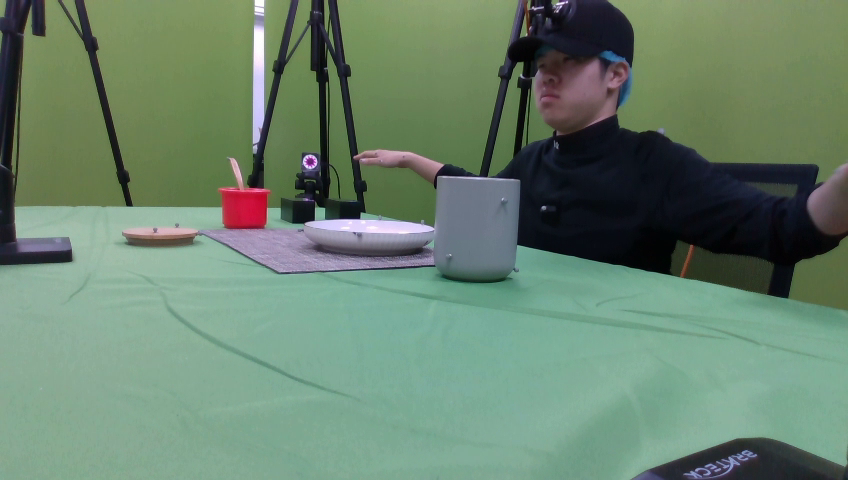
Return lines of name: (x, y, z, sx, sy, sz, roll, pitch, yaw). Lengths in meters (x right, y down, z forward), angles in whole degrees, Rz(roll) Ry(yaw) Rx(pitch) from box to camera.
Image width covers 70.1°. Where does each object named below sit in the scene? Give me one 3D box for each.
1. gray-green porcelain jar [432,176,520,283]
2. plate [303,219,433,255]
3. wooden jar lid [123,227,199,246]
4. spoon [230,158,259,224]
gray-green porcelain jar: (0.064, -0.015, 0.759, 0.106, 0.126, 0.106, 2, 7, 0)
plate: (-0.084, -0.005, 0.952, 0.208, 0.039, 0.207, 3, 7, 0)
wooden jar lid: (-0.408, -0.006, 0.942, 0.108, 0.020, 0.108, 3, 6, 0)
spoon: (-0.366, -0.101, 1.215, 0.042, 0.021, 0.193, -1, 52, -30)
